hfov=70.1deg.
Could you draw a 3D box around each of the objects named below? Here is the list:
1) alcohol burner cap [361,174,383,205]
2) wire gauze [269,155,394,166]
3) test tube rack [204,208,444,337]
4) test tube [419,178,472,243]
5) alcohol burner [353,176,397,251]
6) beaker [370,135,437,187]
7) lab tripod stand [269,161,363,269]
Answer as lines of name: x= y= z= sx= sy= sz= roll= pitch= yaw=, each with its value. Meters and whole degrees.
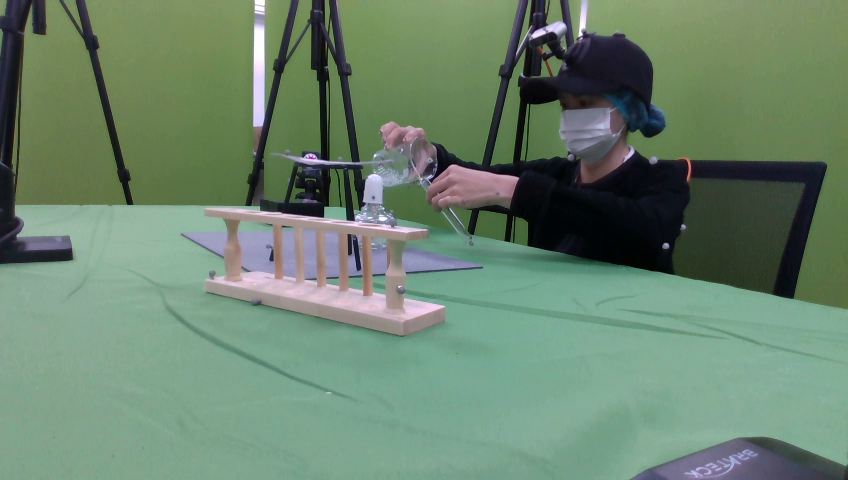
alcohol burner cap: x=-0.080 y=-0.078 z=0.945 sx=0.034 sy=0.048 sz=0.034 roll=5 pitch=8 yaw=0
wire gauze: x=-0.121 y=-0.102 z=0.785 sx=0.122 sy=0.011 sz=0.124 roll=-3 pitch=10 yaw=-39
test tube rack: x=-0.100 y=0.021 z=0.565 sx=0.241 sy=0.085 sz=0.067 roll=7 pitch=9 yaw=32
test tube: x=0.035 y=-0.050 z=0.995 sx=0.017 sy=0.017 sz=0.149 roll=-4 pitch=47 yaw=-42
alcohol burner: x=-0.082 y=-0.043 z=0.950 sx=0.078 sy=0.119 sz=0.078 roll=1 pitch=8 yaw=0
beaker: x=-0.038 y=-0.133 z=1.066 sx=0.100 sy=0.084 sz=0.074 roll=-9 pitch=-11 yaw=39
lab tripod stand: x=-0.125 y=-0.036 z=0.794 sx=0.148 sy=0.131 sz=0.148 roll=5 pitch=7 yaw=0
